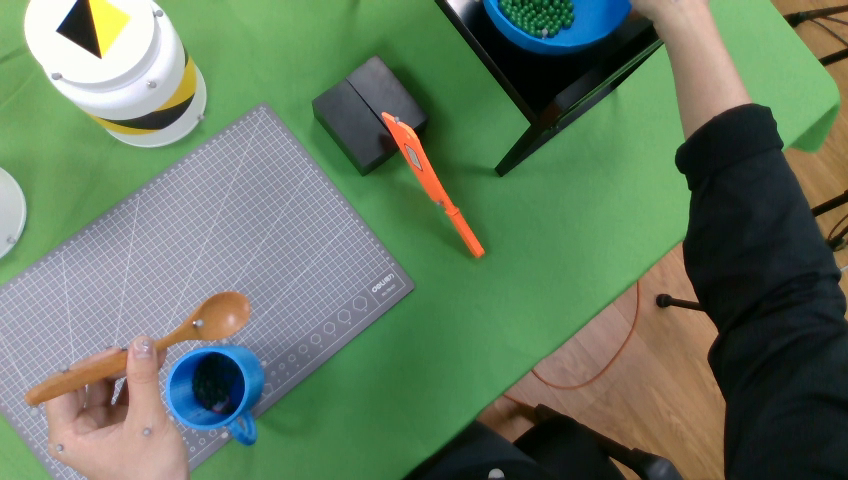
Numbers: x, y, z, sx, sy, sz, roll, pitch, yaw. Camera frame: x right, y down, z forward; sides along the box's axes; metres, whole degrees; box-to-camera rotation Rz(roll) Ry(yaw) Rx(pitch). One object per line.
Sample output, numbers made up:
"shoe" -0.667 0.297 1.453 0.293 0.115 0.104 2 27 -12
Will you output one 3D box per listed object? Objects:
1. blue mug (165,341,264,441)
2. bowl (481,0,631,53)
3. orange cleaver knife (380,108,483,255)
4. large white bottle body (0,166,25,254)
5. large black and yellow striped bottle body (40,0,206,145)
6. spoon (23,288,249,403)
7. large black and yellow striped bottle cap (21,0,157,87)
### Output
"blue mug" -0.215 0.166 0.659 0.082 0.106 0.116 -30 87 -10
"bowl" 0.118 -0.243 0.588 0.151 0.077 0.151 1 82 -6
"orange cleaver knife" 0.010 -0.067 0.730 0.012 0.076 0.213 -40 120 -11
"large white bottle body" -0.515 -0.044 0.608 0.131 0.185 0.130 1 82 -7
"large black and yellow striped bottle body" -0.322 -0.189 0.652 0.131 0.184 0.130 1 82 -7
"spoon" -0.202 0.076 0.455 0.021 0.194 0.042 6 103 21
"large black and yellow striped bottle cap" -0.313 -0.202 0.570 0.115 0.019 0.114 1 83 -9
